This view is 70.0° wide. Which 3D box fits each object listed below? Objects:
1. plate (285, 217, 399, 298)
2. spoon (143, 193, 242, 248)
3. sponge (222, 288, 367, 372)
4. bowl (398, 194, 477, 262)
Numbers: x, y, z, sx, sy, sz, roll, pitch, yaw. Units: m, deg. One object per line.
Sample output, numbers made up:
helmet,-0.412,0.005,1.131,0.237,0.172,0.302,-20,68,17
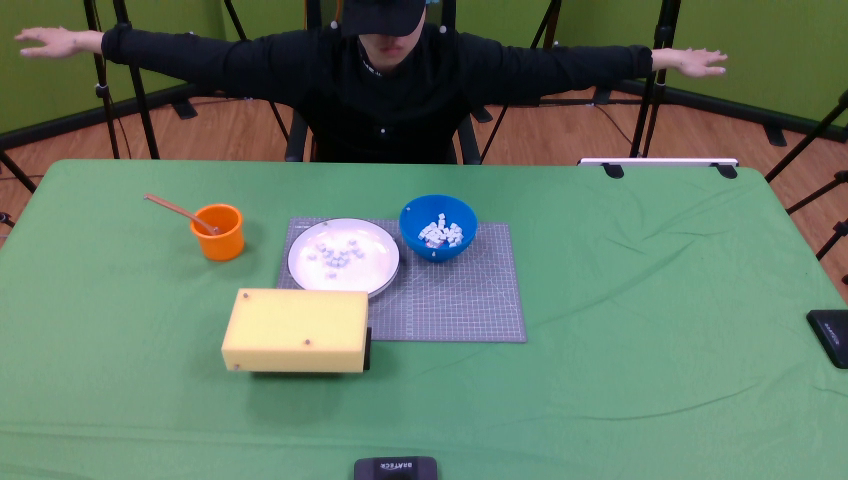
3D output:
plate,-0.150,0.041,1.131,0.209,0.038,0.208,2,45,-2
spoon,-0.421,-0.037,1.113,0.021,0.195,0.041,-36,37,23
sponge,-0.196,0.141,0.952,0.207,0.061,0.117,1,46,-3
bowl,0.023,-0.011,1.167,0.151,0.077,0.150,2,46,-2
